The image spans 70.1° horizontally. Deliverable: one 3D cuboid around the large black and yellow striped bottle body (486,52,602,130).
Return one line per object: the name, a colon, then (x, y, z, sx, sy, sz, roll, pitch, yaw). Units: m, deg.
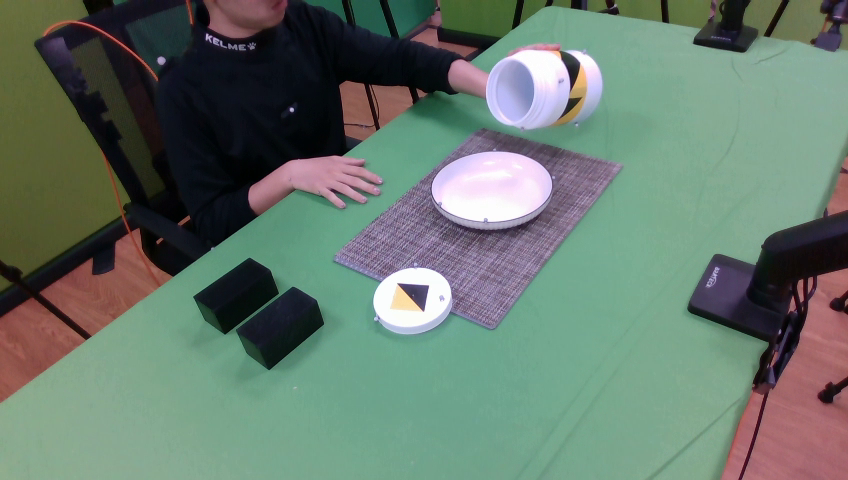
large black and yellow striped bottle body: (0.208, -0.261, 1.055, 0.185, 0.131, 0.129, -16, 37, -40)

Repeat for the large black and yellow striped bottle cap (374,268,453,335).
large black and yellow striped bottle cap: (-0.015, 0.087, 0.871, 0.115, 0.019, 0.114, -6, 43, 6)

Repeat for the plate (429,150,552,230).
plate: (0.113, -0.082, 1.032, 0.207, 0.039, 0.206, -4, 41, 4)
